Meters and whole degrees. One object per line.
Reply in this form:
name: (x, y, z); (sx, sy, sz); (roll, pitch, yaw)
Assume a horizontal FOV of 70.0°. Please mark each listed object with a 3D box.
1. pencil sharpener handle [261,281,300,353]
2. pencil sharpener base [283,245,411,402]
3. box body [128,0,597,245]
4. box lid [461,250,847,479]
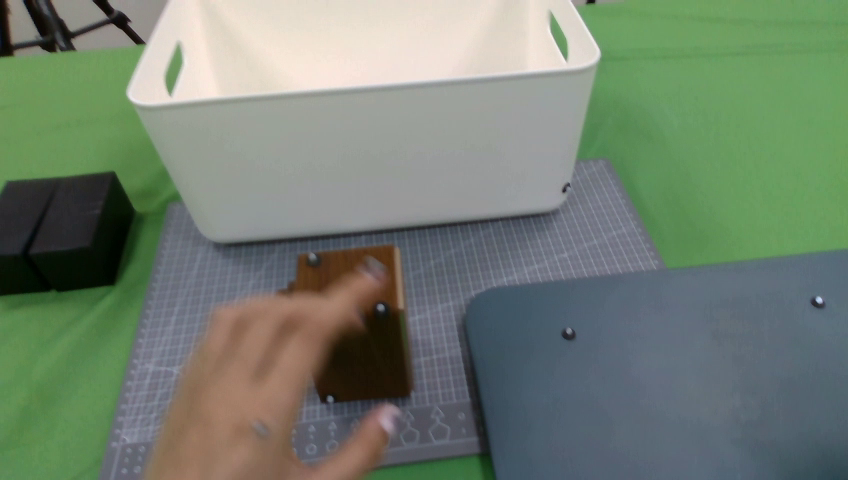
pencil sharpener handle: (-0.103, 0.058, 0.418); (0.030, 0.068, 0.035); (-5, 48, -1)
pencil sharpener base: (-0.051, 0.062, 0.428); (0.077, 0.108, 0.060); (-5, 46, -1)
box body: (-0.049, -0.142, 0.591); (0.364, 0.162, 0.251); (-6, 45, -3)
box lid: (0.221, 0.120, 0.428); (0.372, 0.015, 0.260); (-6, 46, -4)
